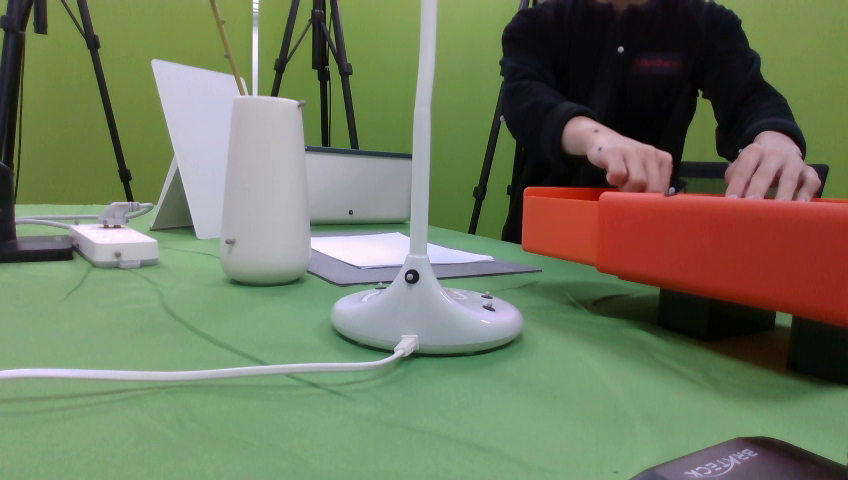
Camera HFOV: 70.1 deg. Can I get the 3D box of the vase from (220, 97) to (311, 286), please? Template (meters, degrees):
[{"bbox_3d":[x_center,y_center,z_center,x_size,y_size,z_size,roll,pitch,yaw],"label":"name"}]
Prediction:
[{"bbox_3d":[-0.172,-0.052,0.662,0.098,0.200,0.098,3,8,0],"label":"vase"}]

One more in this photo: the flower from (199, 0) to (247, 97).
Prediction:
[{"bbox_3d":[-0.187,-0.133,0.648,0.038,0.362,0.044,-1,21,42],"label":"flower"}]

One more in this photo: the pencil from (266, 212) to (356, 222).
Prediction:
[{"bbox_3d":[-0.244,-0.049,1.319,0.195,0.012,0.012,4,7,-12],"label":"pencil"}]

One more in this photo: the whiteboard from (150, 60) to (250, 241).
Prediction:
[{"bbox_3d":[-0.408,-0.139,1.093,0.143,0.305,0.218,-15,-1,26],"label":"whiteboard"}]

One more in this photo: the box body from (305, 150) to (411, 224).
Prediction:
[{"bbox_3d":[-0.230,-0.126,1.371,0.366,0.160,0.253,-2,8,-33],"label":"box body"}]

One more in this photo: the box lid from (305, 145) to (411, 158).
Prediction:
[{"bbox_3d":[-0.228,-0.200,1.361,0.373,0.015,0.262,-1,8,-33],"label":"box lid"}]

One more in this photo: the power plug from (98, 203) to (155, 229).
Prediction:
[{"bbox_3d":[-0.416,-0.026,0.848,0.073,0.052,0.035,1,7,-28],"label":"power plug"}]

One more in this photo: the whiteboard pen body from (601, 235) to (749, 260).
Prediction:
[{"bbox_3d":[0.253,0.006,0.618,0.140,0.017,0.017,6,8,26],"label":"whiteboard pen body"}]

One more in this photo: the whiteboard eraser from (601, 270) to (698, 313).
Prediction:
[{"bbox_3d":[0.200,0.026,0.574,0.056,0.042,0.112,6,30,-51],"label":"whiteboard eraser"}]

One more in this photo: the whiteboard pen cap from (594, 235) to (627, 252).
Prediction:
[{"bbox_3d":[0.199,0.005,0.646,0.033,0.018,0.018,5,8,26],"label":"whiteboard pen cap"}]

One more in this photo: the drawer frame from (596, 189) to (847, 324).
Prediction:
[{"bbox_3d":[0.292,0.002,0.504,0.203,0.082,0.212,-1,7,-30],"label":"drawer frame"}]

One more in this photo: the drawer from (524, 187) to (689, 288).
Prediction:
[{"bbox_3d":[0.238,-0.010,0.599,0.195,0.073,0.210,-1,9,-29],"label":"drawer"}]

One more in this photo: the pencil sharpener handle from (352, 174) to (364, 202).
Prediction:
[{"bbox_3d":[-0.157,-0.125,1.450,0.031,0.068,0.036,2,19,-11],"label":"pencil sharpener handle"}]

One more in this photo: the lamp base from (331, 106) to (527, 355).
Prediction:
[{"bbox_3d":[0.006,-0.012,0.478,0.161,0.180,0.179,2,10,2],"label":"lamp base"}]

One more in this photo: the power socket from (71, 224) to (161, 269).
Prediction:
[{"bbox_3d":[-0.408,0.004,0.793,0.072,0.032,0.225,-2,8,-38],"label":"power socket"}]

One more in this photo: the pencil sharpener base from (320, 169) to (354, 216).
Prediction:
[{"bbox_3d":[-0.207,-0.113,1.438,0.077,0.107,0.061,2,6,-11],"label":"pencil sharpener base"}]
